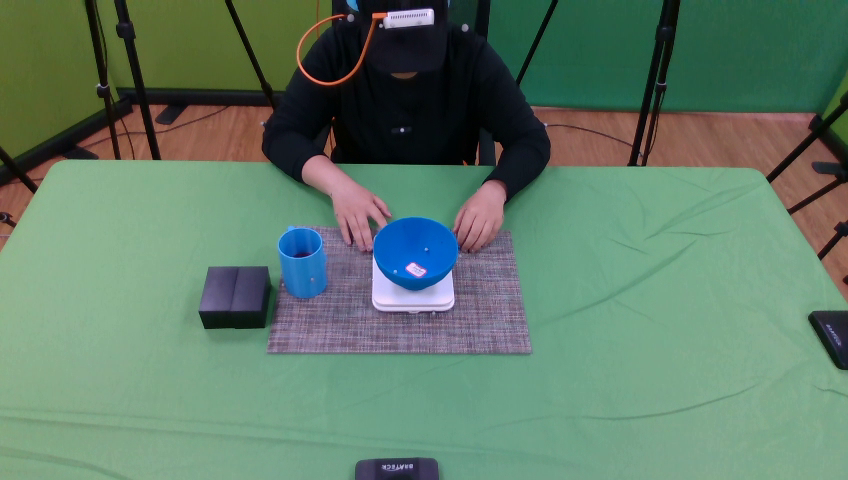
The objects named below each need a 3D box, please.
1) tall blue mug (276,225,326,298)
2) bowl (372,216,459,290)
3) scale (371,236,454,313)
[{"bbox_3d":[-0.228,0.033,1.083,0.107,0.108,0.077,30,53,23],"label":"tall blue mug"},{"bbox_3d":[-0.016,0.036,1.075,0.151,0.077,0.150,2,46,-1],"label":"bowl"},{"bbox_3d":[-0.022,0.051,1.134,0.149,0.032,0.199,1,46,-4],"label":"scale"}]
